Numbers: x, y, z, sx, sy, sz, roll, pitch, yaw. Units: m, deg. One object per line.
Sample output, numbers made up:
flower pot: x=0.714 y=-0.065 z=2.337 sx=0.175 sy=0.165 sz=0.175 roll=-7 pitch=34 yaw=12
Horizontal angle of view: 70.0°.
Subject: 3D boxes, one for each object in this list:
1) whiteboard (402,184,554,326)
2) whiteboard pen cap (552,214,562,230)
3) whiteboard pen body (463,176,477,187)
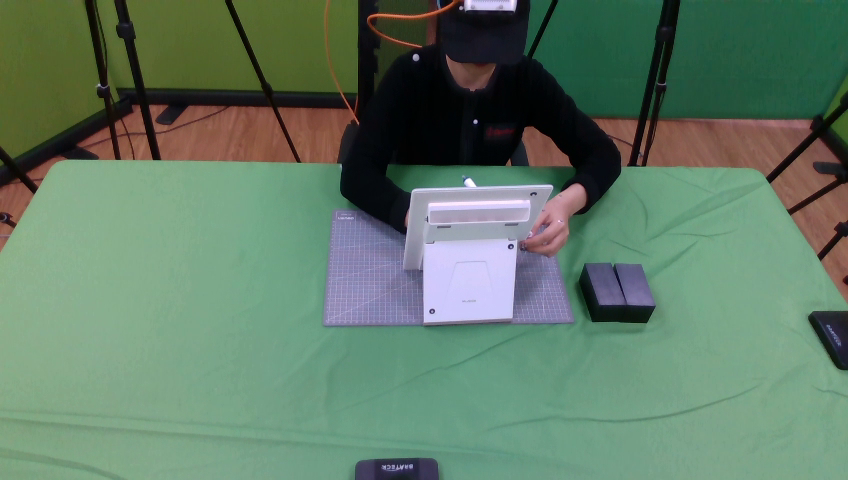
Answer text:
whiteboard: x=0.081 y=0.044 z=1.005 sx=0.217 sy=0.306 sz=0.143 roll=-1 pitch=66 yaw=-6
whiteboard pen cap: x=0.276 y=-0.037 z=1.260 sx=0.018 sy=0.018 sz=0.033 roll=2 pitch=43 yaw=-2
whiteboard pen body: x=0.112 y=-0.065 z=1.090 sx=0.017 sy=0.017 sz=0.140 roll=-22 pitch=57 yaw=-22
